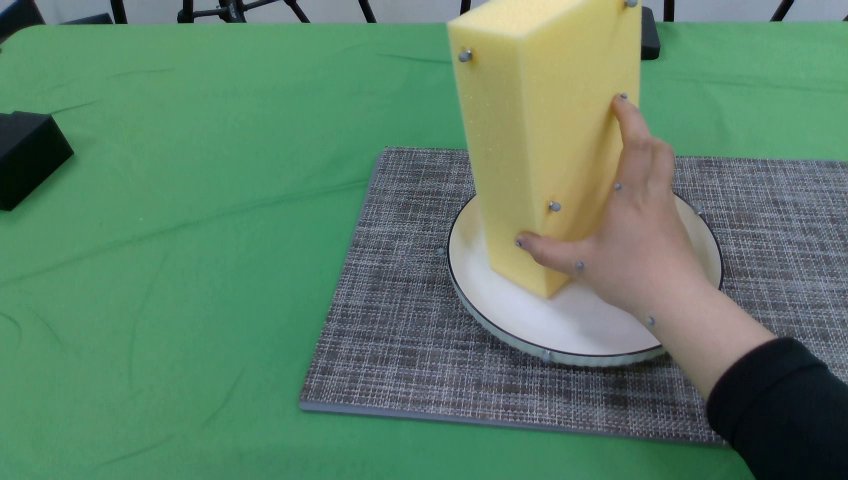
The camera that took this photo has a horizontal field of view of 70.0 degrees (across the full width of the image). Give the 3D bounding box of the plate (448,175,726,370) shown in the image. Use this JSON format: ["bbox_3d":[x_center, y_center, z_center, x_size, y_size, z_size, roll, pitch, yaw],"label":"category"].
[{"bbox_3d":[0.124,0.018,0.481,0.207,0.039,0.205,-3,45,3],"label":"plate"}]

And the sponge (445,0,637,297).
[{"bbox_3d":[0.094,-0.074,0.440,0.118,0.209,0.060,-37,44,-24],"label":"sponge"}]
